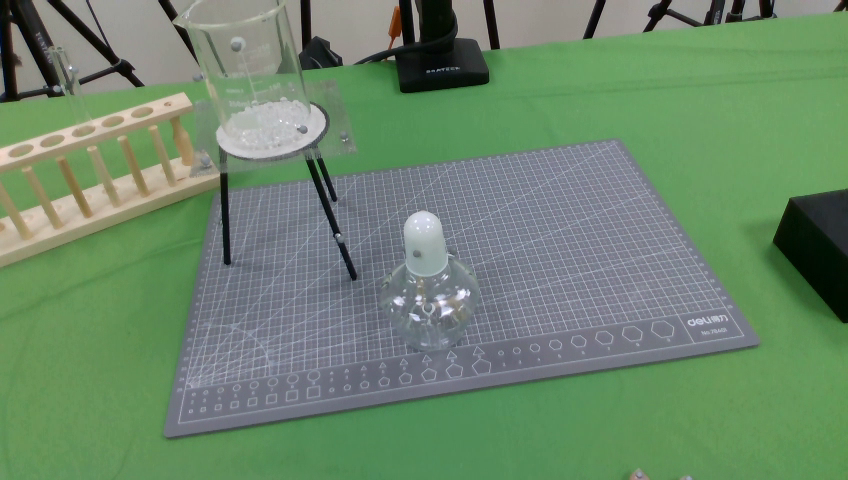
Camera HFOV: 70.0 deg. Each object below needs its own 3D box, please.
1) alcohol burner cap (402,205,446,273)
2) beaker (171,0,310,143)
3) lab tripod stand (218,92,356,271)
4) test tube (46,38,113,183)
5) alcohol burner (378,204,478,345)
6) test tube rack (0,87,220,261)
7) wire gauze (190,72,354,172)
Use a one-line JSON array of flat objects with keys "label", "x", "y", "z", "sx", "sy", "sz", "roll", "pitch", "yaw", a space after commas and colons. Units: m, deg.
[{"label": "alcohol burner cap", "x": -0.002, "y": -0.003, "z": 0.434, "sx": 0.034, "sy": 0.048, "sz": 0.033, "roll": -3, "pitch": 45, "yaw": 4}, {"label": "beaker", "x": -0.131, "y": -0.130, "z": 0.453, "sx": 0.084, "sy": 0.101, "sz": 0.073, "roll": -7, "pitch": 42, "yaw": 0}, {"label": "lab tripod stand", "x": -0.121, "y": -0.049, "z": 0.533, "sx": 0.148, "sy": 0.133, "sz": 0.147, "roll": -3, "pitch": 44, "yaw": 3}, {"label": "test tube", "x": -0.338, "y": -0.123, "z": 0.599, "sx": 0.017, "sy": 0.151, "sz": 0.017, "roll": 0, "pitch": 36, "yaw": 1}, {"label": "alcohol burner", "x": 0.002, "y": 0.023, "z": 0.458, "sx": 0.078, "sy": 0.120, "sz": 0.077, "roll": -2, "pitch": 41, "yaw": 2}, {"label": "test tube rack", "x": -0.342, "y": -0.068, "z": 0.615, "sx": 0.242, "sy": 0.086, "sz": 0.066, "roll": -25, "pitch": 46, "yaw": -21}, {"label": "wire gauze", "x": -0.125, "y": -0.097, "z": 0.489, "sx": 0.125, "sy": 0.011, "sz": 0.120, "roll": -14, "pitch": 41, "yaw": -5}]
